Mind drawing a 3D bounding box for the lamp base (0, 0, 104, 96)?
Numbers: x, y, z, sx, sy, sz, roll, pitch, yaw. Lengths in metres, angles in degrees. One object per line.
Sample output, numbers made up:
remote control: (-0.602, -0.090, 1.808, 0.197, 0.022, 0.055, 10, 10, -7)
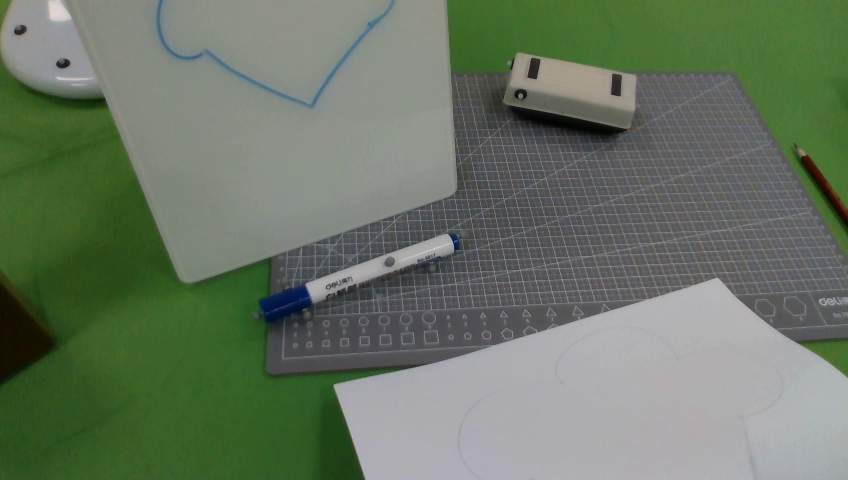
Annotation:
lamp base: (-0.297, -0.237, 0.489, 0.178, 0.182, 0.160, 31, 56, 19)

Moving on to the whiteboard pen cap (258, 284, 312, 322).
whiteboard pen cap: (-0.092, 0.042, 0.404, 0.033, 0.018, 0.018, -21, 58, -19)

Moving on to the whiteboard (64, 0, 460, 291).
whiteboard: (-0.110, -0.157, 0.411, 0.217, 0.308, 0.142, -20, 39, -18)

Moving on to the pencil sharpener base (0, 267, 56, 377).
pencil sharpener base: (-0.274, 0.038, 0.337, 0.061, 0.108, 0.076, 38, 59, 20)

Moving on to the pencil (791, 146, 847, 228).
pencil: (0.357, -0.012, 0.505, 0.012, 0.012, 0.192, -5, 53, -9)

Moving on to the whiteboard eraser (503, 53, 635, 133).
whiteboard eraser: (0.129, -0.130, 0.541, 0.112, 0.042, 0.055, 13, 54, 3)

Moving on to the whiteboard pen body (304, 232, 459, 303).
whiteboard pen body: (-0.039, 0.022, 0.422, 0.141, 0.017, 0.017, -20, 58, -18)
